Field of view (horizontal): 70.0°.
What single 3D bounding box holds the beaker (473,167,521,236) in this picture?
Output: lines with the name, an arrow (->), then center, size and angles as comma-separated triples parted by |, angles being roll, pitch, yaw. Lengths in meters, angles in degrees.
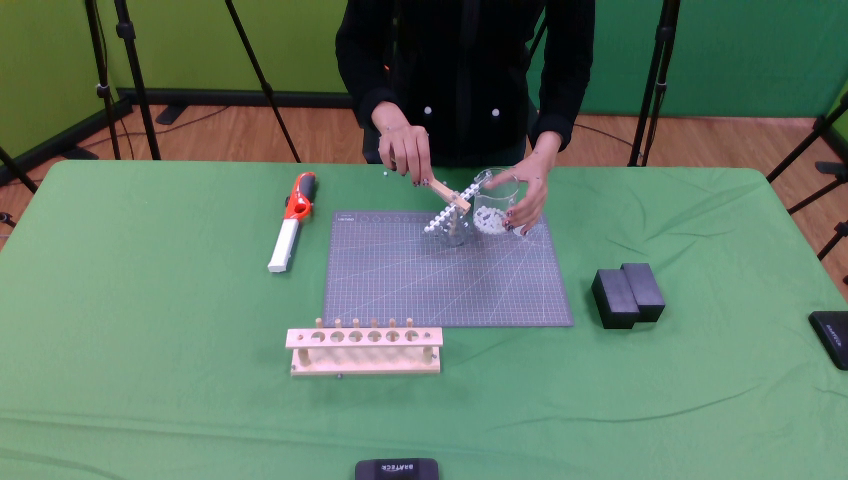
beaker -> 0.119, -0.062, 1.037 | 0.084, 0.101, 0.073 | -25, 54, -20

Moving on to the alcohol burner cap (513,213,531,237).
alcohol burner cap -> 0.200, -0.034, 1.227 | 0.034, 0.048, 0.033 | 2, 46, -1

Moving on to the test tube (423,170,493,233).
test tube -> 0.054, -0.061, 0.951 | 0.017, 0.017, 0.150 | 37, 67, 28

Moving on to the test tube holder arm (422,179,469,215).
test tube holder arm -> 0.033, -0.072, 0.956 | 0.087, 0.010, 0.015 | 39, 65, 8

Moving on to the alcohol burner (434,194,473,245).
alcohol burner -> 0.059, -0.046, 1.179 | 0.078, 0.120, 0.077 | 1, 48, -1

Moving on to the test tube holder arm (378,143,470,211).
test tube holder arm -> -0.001, -0.102, 0.959 | 0.178, 0.013, 0.015 | 37, 64, 12

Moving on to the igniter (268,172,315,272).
igniter -> -0.263, -0.045, 1.219 | 0.057, 0.025, 0.275 | -2, 46, 8

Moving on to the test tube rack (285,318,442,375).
test tube rack -> -0.095, 0.168, 0.986 | 0.242, 0.085, 0.066 | 0, 46, -4
